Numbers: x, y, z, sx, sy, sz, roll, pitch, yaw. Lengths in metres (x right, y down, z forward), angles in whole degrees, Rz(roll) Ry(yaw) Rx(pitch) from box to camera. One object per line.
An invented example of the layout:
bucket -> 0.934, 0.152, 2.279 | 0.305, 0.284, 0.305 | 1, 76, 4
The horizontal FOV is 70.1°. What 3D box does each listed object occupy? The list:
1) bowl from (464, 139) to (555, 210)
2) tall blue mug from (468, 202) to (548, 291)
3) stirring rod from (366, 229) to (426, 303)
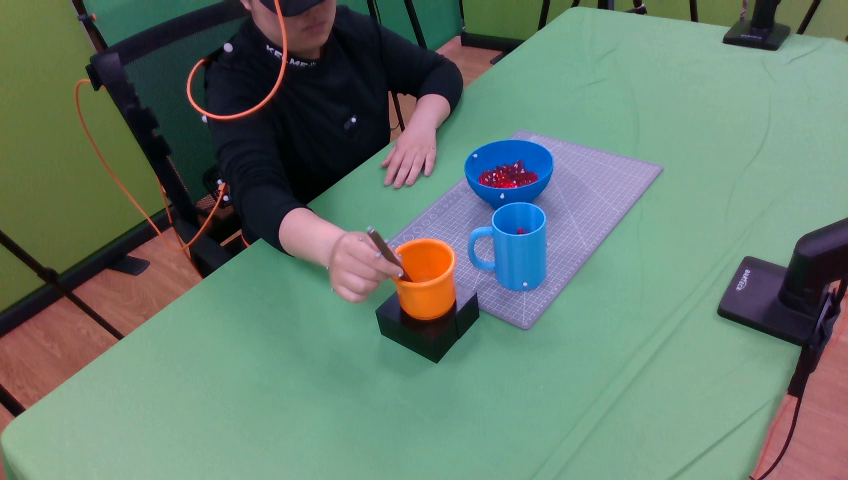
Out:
bowl -> 0.146, -0.100, 1.025 | 0.151, 0.077, 0.150 | -5, 40, 5
tall blue mug -> 0.125, 0.015, 0.868 | 0.107, 0.108, 0.077 | -21, 42, -14
stirring rod -> -0.031, 0.036, 0.740 | 0.014, 0.177, 0.006 | 4, 60, 24
